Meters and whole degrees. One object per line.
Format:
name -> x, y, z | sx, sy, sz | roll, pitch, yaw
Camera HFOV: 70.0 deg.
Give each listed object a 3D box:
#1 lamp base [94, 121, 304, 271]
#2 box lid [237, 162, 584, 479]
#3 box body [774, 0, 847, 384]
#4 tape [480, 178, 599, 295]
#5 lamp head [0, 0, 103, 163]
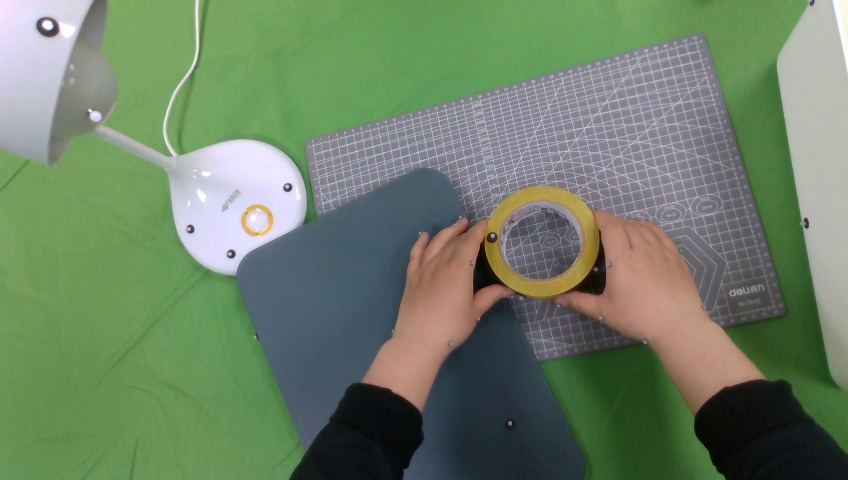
lamp base -> -0.242, -0.060, 0.631 | 0.178, 0.181, 0.160 | 27, 88, 17
box lid -> -0.025, 0.123, 0.638 | 0.263, 0.015, 0.370 | -27, 80, 5
box body -> 0.459, -0.058, 0.490 | 0.254, 0.161, 0.362 | -7, 81, 11
tape -> 0.117, -0.003, 0.609 | 0.116, 0.053, 0.116 | -2, 81, 11
lamp head -> -0.256, -0.112, 0.337 | 0.123, 0.112, 0.112 | 16, 84, -20
